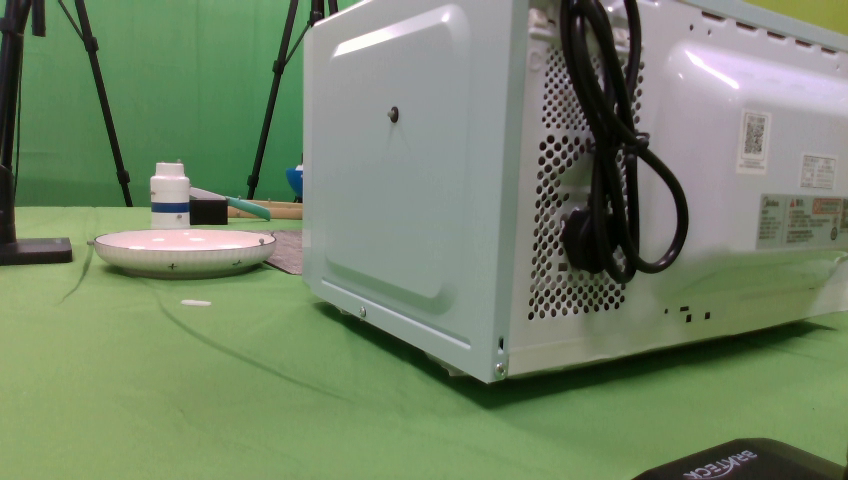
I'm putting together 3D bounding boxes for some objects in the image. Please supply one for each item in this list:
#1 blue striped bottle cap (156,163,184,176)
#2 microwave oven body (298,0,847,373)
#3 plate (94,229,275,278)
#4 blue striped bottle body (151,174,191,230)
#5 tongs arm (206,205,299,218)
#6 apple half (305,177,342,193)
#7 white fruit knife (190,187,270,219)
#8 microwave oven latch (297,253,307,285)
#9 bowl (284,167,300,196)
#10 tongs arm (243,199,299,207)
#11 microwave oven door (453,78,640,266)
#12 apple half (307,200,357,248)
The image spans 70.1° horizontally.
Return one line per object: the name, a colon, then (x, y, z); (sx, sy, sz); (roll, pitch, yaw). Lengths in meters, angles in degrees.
blue striped bottle cap: (-0.438, -0.122, 1.045); (0.044, 0.020, 0.044); (5, 6, 0)
microwave oven body: (0.151, -0.055, 0.543); (0.444, 0.260, 0.324); (-1, 7, -33)
plate: (-0.291, 0.016, 0.749); (0.208, 0.039, 0.207); (2, 7, 0)
blue striped bottle body: (-0.439, -0.071, 1.052); (0.063, 0.120, 0.063); (2, 7, 0)
tongs arm: (-0.302, -0.065, 1.407); (0.389, 0.028, 0.028); (1, 4, -15)
apple half: (-0.208, -0.114, 1.244); (0.081, 0.033, 0.081); (-1, 9, 1)
white fruit knife: (-0.413, -0.081, 1.270); (0.208, 0.027, 0.016); (17, 13, -41)
microwave oven latch: (-0.082, 0.027, 0.582); (0.079, 0.029, 0.030); (-1, 7, -32)
bowl: (-0.209, -0.109, 1.244); (0.151, 0.077, 0.151); (-1, 10, 1)
tongs arm: (-0.309, -0.078, 1.487); (0.385, 0.026, 0.050); (3, 7, -2)
microwave oven door: (0.164, -0.106, 0.918); (0.039, 0.243, 0.354); (-2, 8, -32)
apple half: (-0.136, -0.024, 0.942); (0.053, 0.074, 0.081); (15, 10, 38)
